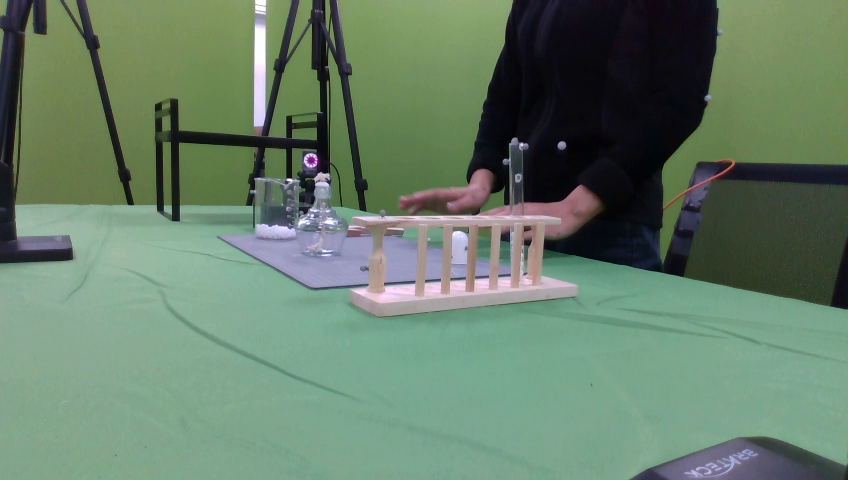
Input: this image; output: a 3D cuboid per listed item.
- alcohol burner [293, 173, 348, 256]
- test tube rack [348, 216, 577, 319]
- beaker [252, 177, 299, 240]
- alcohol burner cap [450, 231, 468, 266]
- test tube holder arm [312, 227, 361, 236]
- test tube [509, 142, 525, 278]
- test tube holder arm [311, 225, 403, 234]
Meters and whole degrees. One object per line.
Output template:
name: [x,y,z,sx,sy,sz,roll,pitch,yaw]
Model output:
alcohol burner: [-0.147,-0.036,0.859,0.078,0.119,0.078,4,8,0]
test tube rack: [0.048,0.021,0.619,0.244,0.085,0.066,-2,9,-31]
beaker: [-0.245,-0.052,1.005,0.074,0.100,0.083,-3,10,-32]
alcohol burner cap: [0.046,0.012,0.839,0.034,0.048,0.034,3,6,0]
test tube holder arm: [-0.154,-0.015,1.069,0.088,0.015,0.010,0,39,-32]
test tube: [0.102,-0.031,0.663,0.017,0.150,0.017,-2,9,1]
test tube holder arm: [-0.118,-0.019,1.097,0.179,0.015,0.013,-1,39,-34]
